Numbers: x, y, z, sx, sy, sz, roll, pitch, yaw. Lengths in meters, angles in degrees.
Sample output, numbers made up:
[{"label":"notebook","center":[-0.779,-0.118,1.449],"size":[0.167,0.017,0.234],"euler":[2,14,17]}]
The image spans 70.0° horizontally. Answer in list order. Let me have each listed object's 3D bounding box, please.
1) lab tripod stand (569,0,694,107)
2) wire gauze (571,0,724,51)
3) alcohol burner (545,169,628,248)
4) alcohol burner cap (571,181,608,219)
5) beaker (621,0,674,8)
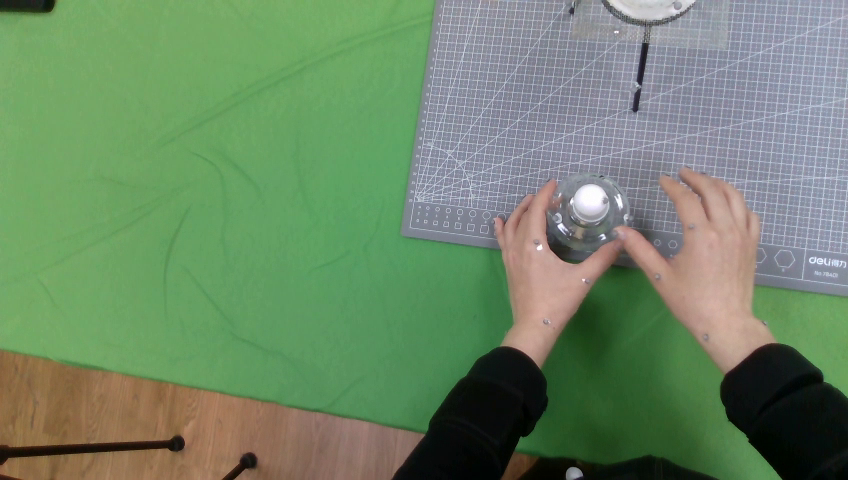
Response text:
[{"label":"lab tripod stand","center":[0.203,-0.215,0.567],"size":[0.148,0.132,0.148],"euler":[-1,85,10]},{"label":"wire gauze","center":[0.190,-0.223,0.503],"size":[0.125,0.011,0.121],"euler":[7,90,10]},{"label":"alcohol burner","center":[0.154,-0.032,0.570],"size":[0.078,0.119,0.077],"euler":[-1,84,10]},{"label":"alcohol burner cap","center":[0.146,-0.037,0.535],"size":[0.034,0.048,0.034],"euler":[-1,85,15]},{"label":"beaker","center":[0.175,-0.229,0.457],"size":[0.083,0.100,0.074],"euler":[21,90,13]}]
